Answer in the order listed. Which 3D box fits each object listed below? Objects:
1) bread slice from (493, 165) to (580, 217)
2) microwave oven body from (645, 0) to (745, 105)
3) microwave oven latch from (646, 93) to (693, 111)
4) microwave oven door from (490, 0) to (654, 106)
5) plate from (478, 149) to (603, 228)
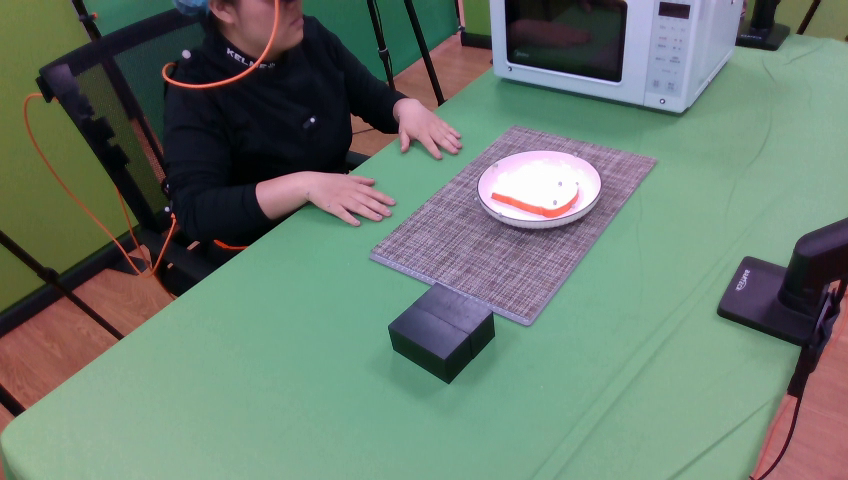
[{"bbox_3d":[0.200,-0.084,1.034,0.130,0.019,0.105,23,50,35],"label":"bread slice"},{"bbox_3d":[0.416,-0.486,1.290,0.438,0.261,0.327,21,50,33],"label":"microwave oven body"},{"bbox_3d":[0.477,-0.273,1.177,0.078,0.029,0.030,22,50,33],"label":"microwave oven latch"},{"bbox_3d":[0.293,-0.420,1.228,0.353,0.245,0.039,22,49,32],"label":"microwave oven door"},{"bbox_3d":[0.198,-0.084,1.030,0.209,0.038,0.208,-5,40,5],"label":"plate"}]
